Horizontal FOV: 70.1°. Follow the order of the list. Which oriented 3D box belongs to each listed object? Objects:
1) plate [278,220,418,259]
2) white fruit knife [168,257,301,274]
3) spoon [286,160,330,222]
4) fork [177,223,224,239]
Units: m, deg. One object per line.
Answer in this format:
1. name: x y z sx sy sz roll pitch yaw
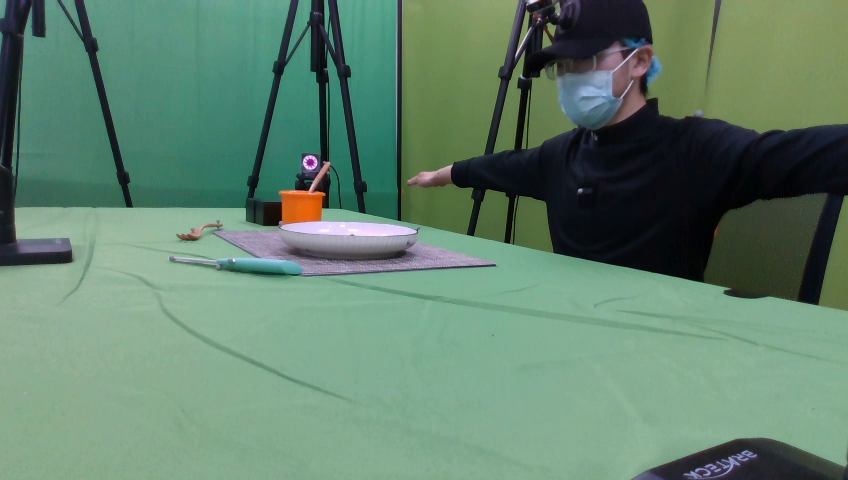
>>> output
1. plate: -0.114 -0.002 0.914 0.209 0.038 0.209 2 7 0
2. white fruit knife: -0.243 0.029 0.749 0.206 0.016 0.027 2 -17 26
3. spoon: -0.233 -0.101 1.252 0.041 0.193 0.022 3 -38 23
4. fork: -0.386 -0.019 1.062 0.028 0.018 0.207 -4 9 -1
